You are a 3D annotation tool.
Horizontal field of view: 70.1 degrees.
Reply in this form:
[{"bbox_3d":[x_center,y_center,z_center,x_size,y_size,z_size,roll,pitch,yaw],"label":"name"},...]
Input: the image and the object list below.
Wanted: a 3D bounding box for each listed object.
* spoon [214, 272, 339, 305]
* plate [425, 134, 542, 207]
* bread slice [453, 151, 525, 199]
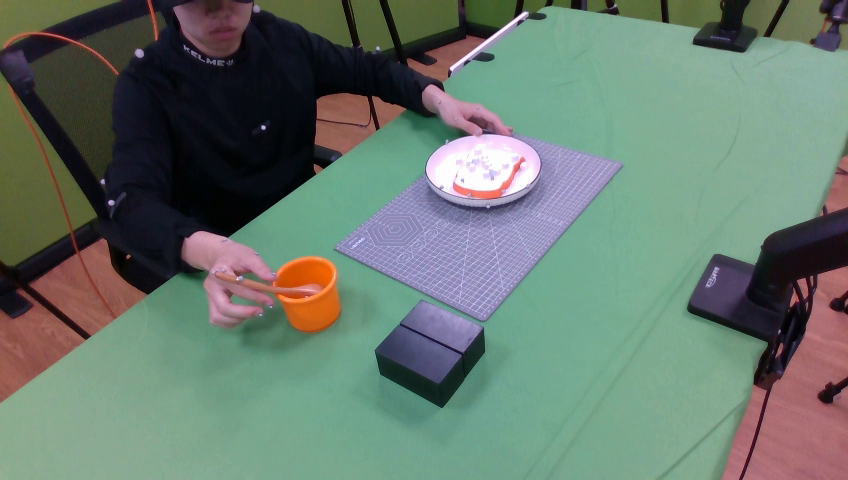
[{"bbox_3d":[-0.192,0.066,0.814,0.195,0.021,0.041,13,20,-44],"label":"spoon"},{"bbox_3d":[0.106,-0.121,1.079,0.209,0.038,0.208,-4,40,4],"label":"plate"},{"bbox_3d":[0.112,-0.118,1.079,0.104,0.019,0.131,11,42,21],"label":"bread slice"}]
